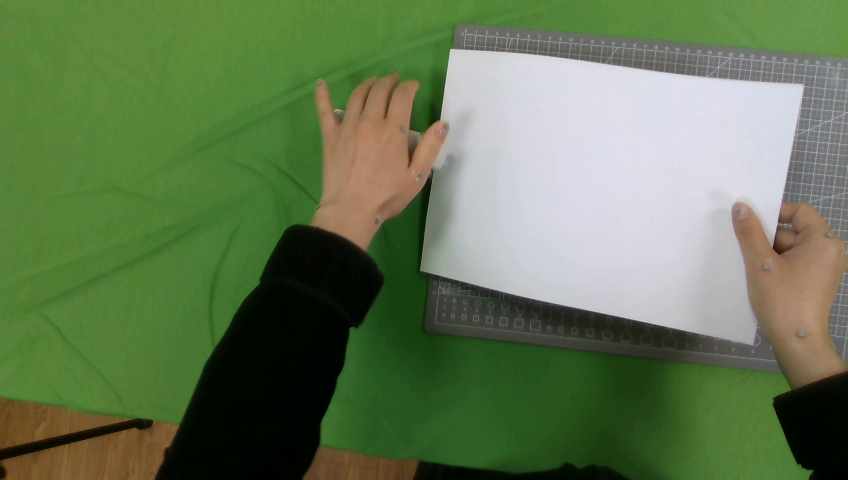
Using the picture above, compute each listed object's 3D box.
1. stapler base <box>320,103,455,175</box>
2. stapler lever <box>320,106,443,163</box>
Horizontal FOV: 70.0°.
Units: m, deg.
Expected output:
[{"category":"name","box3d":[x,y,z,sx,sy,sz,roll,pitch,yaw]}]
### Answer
[{"category":"stapler base","box3d":[-0.036,-0.098,0.580,0.130,0.024,0.041,16,91,4]},{"category":"stapler lever","box3d":[-0.040,-0.097,0.554,0.118,0.040,0.027,16,91,5]}]
